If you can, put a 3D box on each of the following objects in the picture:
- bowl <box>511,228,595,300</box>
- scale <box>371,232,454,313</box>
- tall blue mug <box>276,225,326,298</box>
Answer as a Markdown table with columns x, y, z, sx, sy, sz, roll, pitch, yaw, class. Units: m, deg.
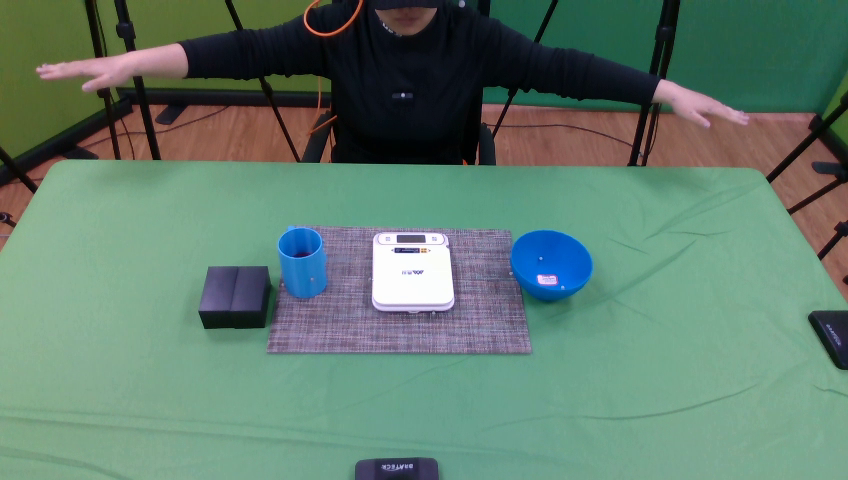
| x | y | z | sx | sy | sz | roll | pitch | yaw | class |
| --- | --- | --- | --- | --- | --- | --- | --- | --- | --- |
| 0.230 | 0.058 | 1.118 | 0.151 | 0.077 | 0.150 | 2 | 46 | -2 | bowl |
| -0.023 | 0.050 | 1.134 | 0.149 | 0.032 | 0.199 | 1 | 46 | -4 | scale |
| -0.228 | 0.033 | 1.083 | 0.107 | 0.108 | 0.077 | 30 | 52 | 23 | tall blue mug |
